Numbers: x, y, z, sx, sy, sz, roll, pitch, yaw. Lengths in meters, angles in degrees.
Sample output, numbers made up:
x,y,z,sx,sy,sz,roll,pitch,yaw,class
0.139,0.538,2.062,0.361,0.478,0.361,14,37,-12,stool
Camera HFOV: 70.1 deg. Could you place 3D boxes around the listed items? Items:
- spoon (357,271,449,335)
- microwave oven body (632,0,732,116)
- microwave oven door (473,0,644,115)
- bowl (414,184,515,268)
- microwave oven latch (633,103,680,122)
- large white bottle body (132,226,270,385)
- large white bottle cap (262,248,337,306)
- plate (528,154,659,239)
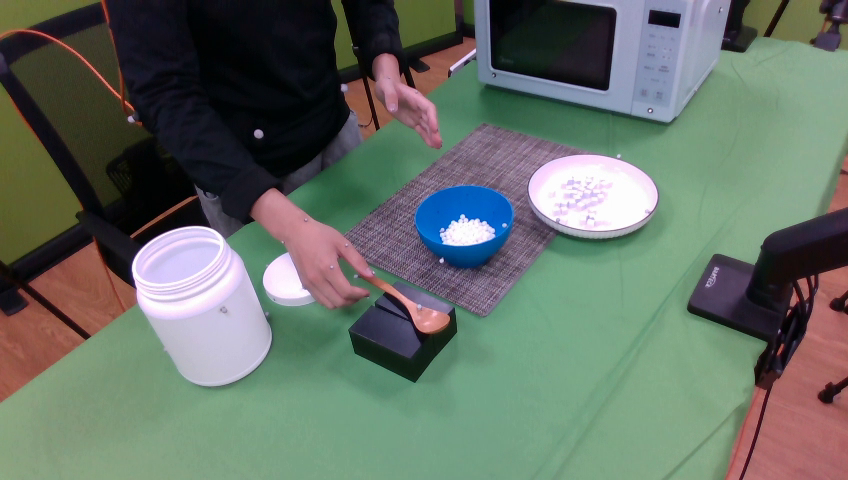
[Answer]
x,y,z,sx,sy,sz,roll,pitch,yaw,class
-0.034,0.078,0.812,0.042,0.022,0.192,-35,42,-24,spoon
0.377,-0.463,1.267,0.438,0.261,0.327,21,49,30,microwave oven body
0.257,-0.396,1.199,0.353,0.245,0.039,21,48,29,microwave oven door
0.063,-0.010,0.922,0.151,0.077,0.150,-4,40,4,bowl
0.444,-0.249,1.157,0.078,0.029,0.030,21,49,30,microwave oven latch
-0.286,0.084,0.783,0.130,0.185,0.130,-4,41,4,large white bottle body
-0.192,0.056,0.934,0.115,0.018,0.114,-4,41,4,large white bottle cap
0.274,-0.069,0.993,0.209,0.038,0.208,-2,42,2,plate
